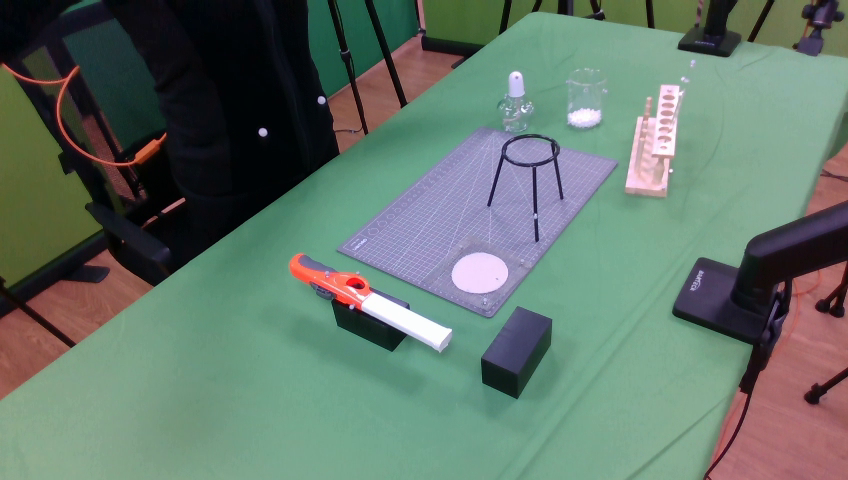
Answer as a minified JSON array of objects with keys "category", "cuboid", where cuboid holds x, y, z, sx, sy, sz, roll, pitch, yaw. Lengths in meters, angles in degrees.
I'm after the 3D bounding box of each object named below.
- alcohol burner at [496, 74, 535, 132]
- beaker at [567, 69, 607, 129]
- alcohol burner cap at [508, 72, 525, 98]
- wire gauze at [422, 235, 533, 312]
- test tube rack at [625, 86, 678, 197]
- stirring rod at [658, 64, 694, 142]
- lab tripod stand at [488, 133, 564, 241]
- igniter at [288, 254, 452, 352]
[{"category":"alcohol burner","cuboid":[0.183,-0.278,1.209,0.078,0.119,0.077,-3,42,4]},{"category":"beaker","cuboid":[0.322,-0.280,1.202,0.073,0.101,0.084,11,43,20]},{"category":"alcohol burner cap","cuboid":[0.181,-0.306,1.186,0.034,0.048,0.033,-7,39,6]},{"category":"wire gauze","cuboid":[0.081,0.049,0.914,0.120,0.011,0.125,26,52,32]},{"category":"test tube rack","cuboid":[0.412,-0.184,1.088,0.066,0.085,0.242,9,43,18]},{"category":"stirring rod","cuboid":[0.409,-0.213,1.000,0.006,0.176,0.014,37,57,25]},{"category":"lab tripod stand","cuboid":[0.168,-0.093,0.972,0.148,0.132,0.147,-5,41,5]},{"category":"igniter","cuboid":[-0.083,0.079,0.818,0.274,0.025,0.057,23,46,27]}]
